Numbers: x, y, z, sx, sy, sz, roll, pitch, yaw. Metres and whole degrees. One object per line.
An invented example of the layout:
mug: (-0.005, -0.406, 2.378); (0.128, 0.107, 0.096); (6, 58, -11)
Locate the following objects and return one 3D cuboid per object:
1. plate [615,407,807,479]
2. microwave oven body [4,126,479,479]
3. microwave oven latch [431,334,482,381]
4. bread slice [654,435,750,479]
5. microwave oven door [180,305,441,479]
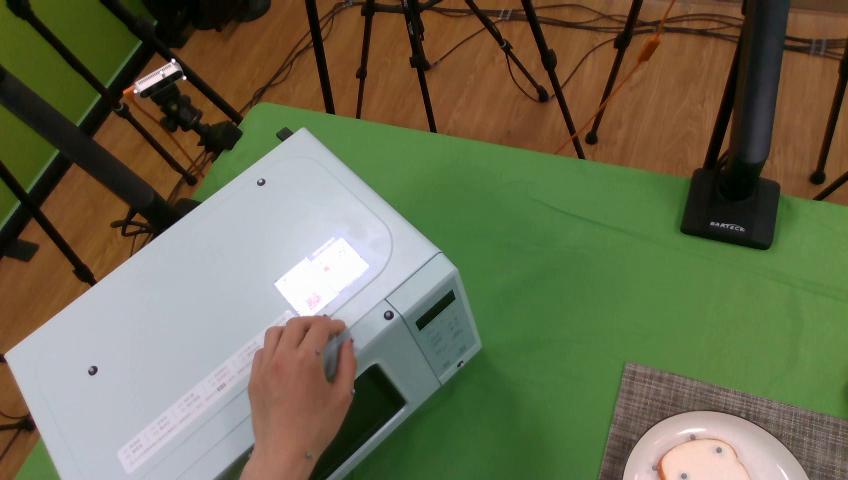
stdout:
plate: (0.322, 0.296, 0.683); (0.207, 0.039, 0.206); (-5, 59, 9)
microwave oven body: (-0.203, 0.131, 0.767); (0.441, 0.263, 0.323); (-41, 60, -11)
microwave oven latch: (0.042, 0.152, 0.814); (0.079, 0.030, 0.030); (-39, 60, -10)
bread slice: (0.322, 0.290, 0.687); (0.105, 0.019, 0.130); (-14, 58, 4)
microwave oven door: (-0.142, 0.240, 0.683); (0.355, 0.246, 0.039); (-41, 59, -12)
